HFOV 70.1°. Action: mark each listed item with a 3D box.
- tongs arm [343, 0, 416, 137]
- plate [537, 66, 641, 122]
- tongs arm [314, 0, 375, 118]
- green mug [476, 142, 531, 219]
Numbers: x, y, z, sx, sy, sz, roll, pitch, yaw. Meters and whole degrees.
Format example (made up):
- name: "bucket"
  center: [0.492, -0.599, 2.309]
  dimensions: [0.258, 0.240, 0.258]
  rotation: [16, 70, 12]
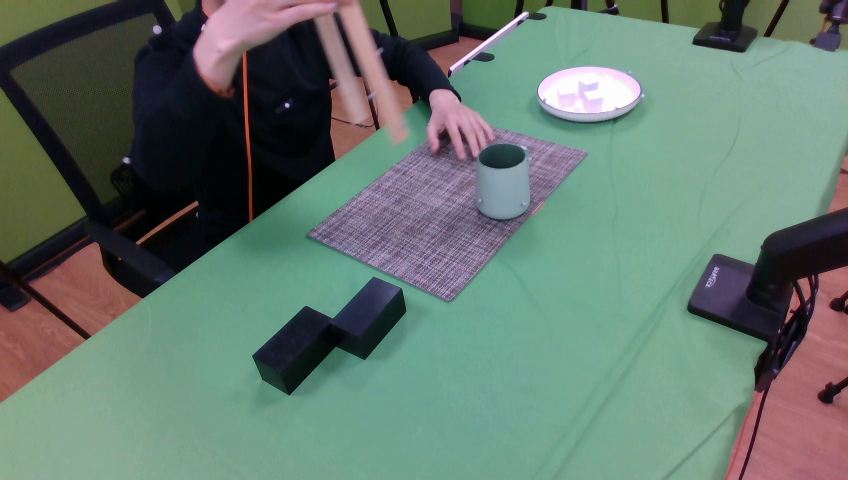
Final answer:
- name: "tongs arm"
  center: [-0.097, -0.299, 0.724]
  dimensions: [0.026, 0.387, 0.050]
  rotation: [-33, 34, -15]
- name: "plate"
  center: [0.338, -0.299, 1.255]
  dimensions: [0.209, 0.038, 0.208]
  rotation: [-4, 41, 4]
- name: "tongs arm"
  center: [-0.132, -0.324, 0.776]
  dimensions: [0.028, 0.390, 0.028]
  rotation: [-30, 42, -12]
- name: "green mug"
  center: [0.139, -0.106, 1.003]
  dimensions: [0.092, 0.105, 0.125]
  rotation: [21, 48, 30]
